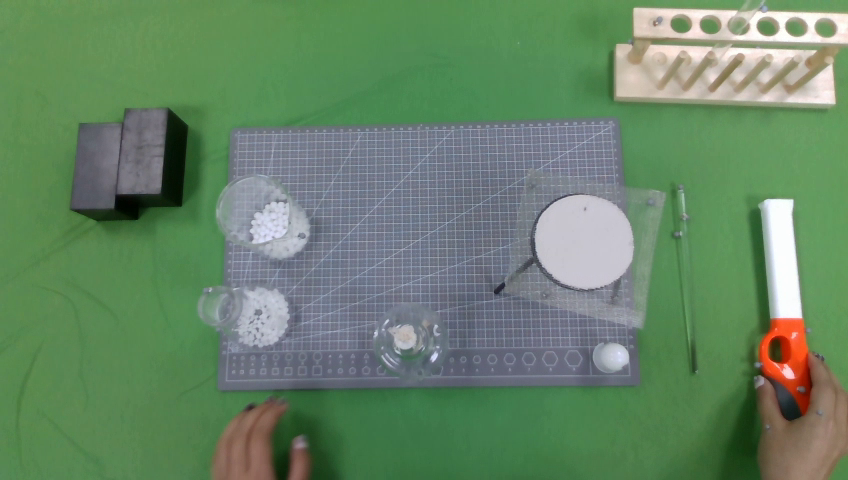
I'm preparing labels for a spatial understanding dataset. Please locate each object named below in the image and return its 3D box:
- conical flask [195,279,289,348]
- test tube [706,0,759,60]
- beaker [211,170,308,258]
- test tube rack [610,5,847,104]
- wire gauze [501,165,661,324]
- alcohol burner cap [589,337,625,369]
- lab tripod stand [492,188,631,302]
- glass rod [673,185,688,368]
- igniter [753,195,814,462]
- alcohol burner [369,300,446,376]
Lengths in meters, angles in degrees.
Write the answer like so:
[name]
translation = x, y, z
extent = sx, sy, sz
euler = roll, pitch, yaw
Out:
[conical flask]
translation = -0.187, 0.069, 0.609
extent = 0.075, 0.122, 0.075
euler = 0, 79, 2
[test tube]
translation = 0.317, -0.225, 0.616
extent = 0.017, 0.151, 0.017
euler = -1, 78, 5
[beaker]
translation = -0.164, -0.021, 0.637
extent = 0.084, 0.100, 0.074
euler = 35, 82, 8
[test tube rack]
translation = 0.336, -0.200, 0.661
extent = 0.242, 0.085, 0.066
euler = 2, 78, 3
[wire gauze]
translation = 0.139, 0.001, 0.534
extent = 0.125, 0.011, 0.121
euler = 13, 81, 6
[alcohol burner cap]
translation = 0.191, 0.115, 0.625
extent = 0.034, 0.048, 0.033
euler = 0, 78, 2
[lab tripod stand]
translation = 0.139, 0.013, 0.600
extent = 0.148, 0.132, 0.148
euler = 0, 80, 3
[glass rod]
translation = 0.279, 0.037, 0.656
extent = 0.008, 0.008, 0.199
euler = 0, 82, 2
[igniter]
translation = 0.372, 0.088, 0.633
extent = 0.057, 0.025, 0.275
euler = 1, 80, 2
[alcohol burner]
translation = -0.018, 0.096, 0.601
extent = 0.078, 0.119, 0.077
euler = -1, 79, 5
